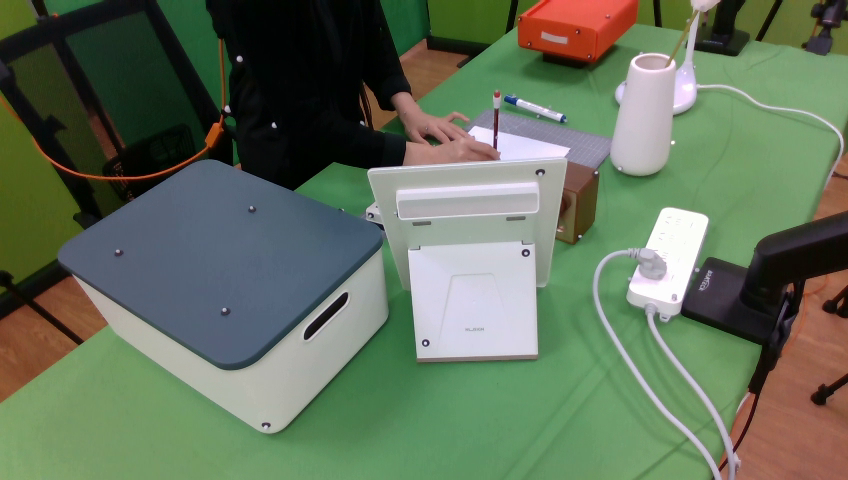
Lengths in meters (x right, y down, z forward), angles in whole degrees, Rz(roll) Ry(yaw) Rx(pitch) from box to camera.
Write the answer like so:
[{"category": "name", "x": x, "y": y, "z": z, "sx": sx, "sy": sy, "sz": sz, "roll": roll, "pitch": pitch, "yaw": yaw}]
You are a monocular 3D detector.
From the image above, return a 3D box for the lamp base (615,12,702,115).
[{"category": "lamp base", "x": 0.484, "y": -0.364, "z": 1.211, "sx": 0.180, "sy": 0.181, "sz": 0.159, "roll": -15, "pitch": 41, "yaw": -14}]

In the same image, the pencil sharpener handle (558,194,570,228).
[{"category": "pencil sharpener handle", "x": 0.195, "y": -0.038, "z": 0.908, "sx": 0.035, "sy": 0.068, "sz": 0.031, "roll": 24, "pitch": 50, "yaw": 30}]

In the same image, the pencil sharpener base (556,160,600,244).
[{"category": "pencil sharpener base", "x": 0.228, "y": -0.057, "z": 0.945, "sx": 0.061, "sy": 0.107, "sz": 0.077, "roll": 24, "pitch": 50, "yaw": 31}]

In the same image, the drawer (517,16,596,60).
[{"category": "drawer", "x": 0.352, "y": -0.506, "z": 1.405, "sx": 0.193, "sy": 0.073, "sz": 0.212, "roll": 23, "pitch": 49, "yaw": 32}]

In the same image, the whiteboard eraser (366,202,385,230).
[{"category": "whiteboard eraser", "x": -0.037, "y": -0.038, "z": 1.006, "sx": 0.112, "sy": 0.042, "sz": 0.055, "roll": 16, "pitch": 47, "yaw": 25}]

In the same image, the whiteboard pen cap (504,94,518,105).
[{"category": "whiteboard pen cap", "x": 0.190, "y": -0.299, "z": 1.292, "sx": 0.033, "sy": 0.018, "sz": 0.018, "roll": 30, "pitch": 52, "yaw": 28}]

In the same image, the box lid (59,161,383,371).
[{"category": "box lid", "x": -0.262, "y": 0.009, "z": 0.777, "sx": 0.369, "sy": 0.015, "sz": 0.264, "roll": 21, "pitch": 48, "yaw": 29}]

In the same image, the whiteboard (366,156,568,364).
[{"category": "whiteboard", "x": 0.059, "y": 0.050, "z": 0.738, "sx": 0.217, "sy": 0.307, "sz": 0.143, "roll": -2, "pitch": 60, "yaw": 6}]

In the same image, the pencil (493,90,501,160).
[{"category": "pencil", "x": 0.120, "y": -0.166, "z": 1.013, "sx": 0.012, "sy": 0.195, "sz": 0.012, "roll": -2, "pitch": 47, "yaw": 2}]

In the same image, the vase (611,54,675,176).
[{"category": "vase", "x": 0.377, "y": -0.209, "z": 1.031, "sx": 0.098, "sy": 0.201, "sz": 0.097, "roll": -3, "pitch": 40, "yaw": 3}]

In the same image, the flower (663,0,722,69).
[{"category": "flower", "x": 0.379, "y": -0.261, "z": 0.965, "sx": 0.044, "sy": 0.362, "sz": 0.038, "roll": 20, "pitch": 53, "yaw": 5}]

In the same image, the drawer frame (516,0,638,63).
[{"category": "drawer frame", "x": 0.355, "y": -0.508, "z": 1.411, "sx": 0.200, "sy": 0.083, "sz": 0.214, "roll": 23, "pitch": 51, "yaw": 32}]

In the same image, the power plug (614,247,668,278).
[{"category": "power plug", "x": 0.306, "y": 0.031, "z": 0.851, "sx": 0.072, "sy": 0.053, "sz": 0.035, "roll": 24, "pitch": 49, "yaw": 33}]

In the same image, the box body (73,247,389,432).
[{"category": "box body", "x": -0.255, "y": 0.065, "z": 0.827, "sx": 0.361, "sy": 0.161, "sz": 0.255, "roll": 21, "pitch": 48, "yaw": 29}]

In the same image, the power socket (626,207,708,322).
[{"category": "power socket", "x": 0.359, "y": 0.026, "z": 0.886, "sx": 0.072, "sy": 0.033, "sz": 0.227, "roll": 16, "pitch": 46, "yaw": 26}]

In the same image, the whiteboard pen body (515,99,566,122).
[{"category": "whiteboard pen body", "x": 0.234, "y": -0.274, "z": 1.262, "sx": 0.139, "sy": 0.017, "sz": 0.017, "roll": 28, "pitch": 51, "yaw": 29}]
